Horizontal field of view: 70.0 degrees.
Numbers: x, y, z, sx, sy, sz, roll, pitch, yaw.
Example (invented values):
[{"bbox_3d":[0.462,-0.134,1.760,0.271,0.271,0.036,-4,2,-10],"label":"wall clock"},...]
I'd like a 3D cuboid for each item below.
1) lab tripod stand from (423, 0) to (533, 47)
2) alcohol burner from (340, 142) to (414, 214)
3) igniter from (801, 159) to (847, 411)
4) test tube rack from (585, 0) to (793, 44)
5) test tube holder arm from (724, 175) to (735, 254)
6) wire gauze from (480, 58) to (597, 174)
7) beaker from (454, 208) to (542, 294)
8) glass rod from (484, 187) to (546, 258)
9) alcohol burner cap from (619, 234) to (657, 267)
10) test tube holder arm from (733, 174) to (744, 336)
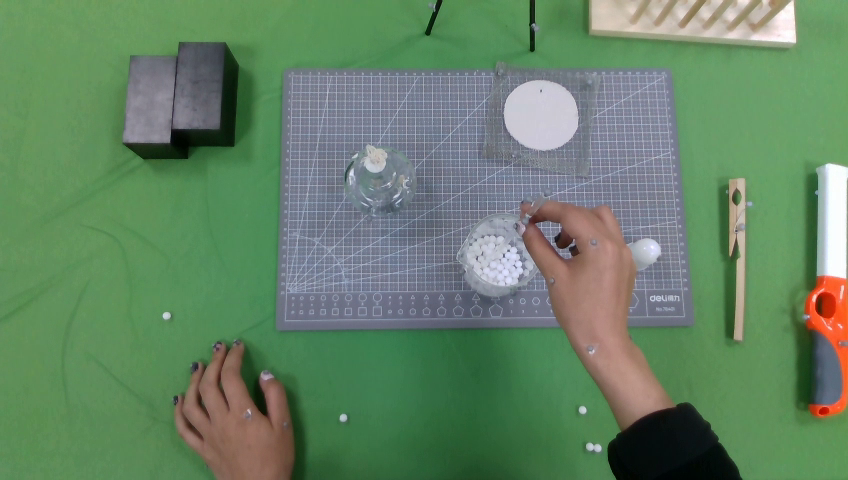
[{"bbox_3d":[0.068,-0.283,0.655,0.148,0.132,0.148,0,81,-1],"label":"lab tripod stand"},{"bbox_3d":[-0.050,-0.069,0.620,0.078,0.119,0.077,0,78,1],"label":"alcohol burner"},{"bbox_3d":[0.438,0.047,0.658,0.057,0.025,0.275,10,80,-10],"label":"igniter"},{"bbox_3d":[0.314,-0.281,0.685,0.242,0.085,0.066,3,79,-1],"label":"test tube rack"},{"bbox_3d":[0.342,-0.028,0.676,0.010,0.015,0.087,-4,78,34],"label":"test tube holder arm"},{"bbox_3d":[0.131,-0.145,0.693,0.125,0.011,0.121,11,81,0],"label":"wire gauze"},{"bbox_3d":[0.070,0.016,0.616,0.084,0.100,0.073,-8,79,-2],"label":"beaker"},{"bbox_3d":[0.078,-0.011,0.554,0.008,0.200,0.008,2,74,-7],"label":"glass rod"},{"bbox_3d":[0.232,0.009,0.650,0.034,0.048,0.033,0,79,-1],"label":"alcohol burner cap"},{"bbox_3d":[0.344,0.015,0.665,0.013,0.015,0.177,-4,78,34],"label":"test tube holder arm"}]
